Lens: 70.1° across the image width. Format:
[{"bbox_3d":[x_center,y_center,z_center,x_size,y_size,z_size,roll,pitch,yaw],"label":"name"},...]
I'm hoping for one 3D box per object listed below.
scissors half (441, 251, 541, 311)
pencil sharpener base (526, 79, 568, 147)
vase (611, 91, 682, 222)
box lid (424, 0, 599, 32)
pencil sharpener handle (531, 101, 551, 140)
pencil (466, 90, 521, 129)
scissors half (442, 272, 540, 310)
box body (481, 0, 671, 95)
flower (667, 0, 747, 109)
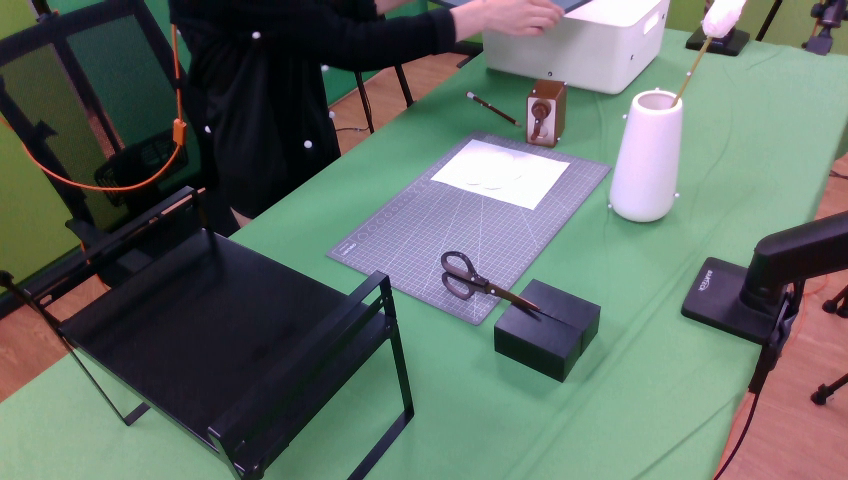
[{"bbox_3d":[0.087,0.056,0.824,0.173,0.040,0.013,29,44,36],"label":"scissors half"},{"bbox_3d":[0.235,-0.242,1.160,0.061,0.107,0.077,12,44,21],"label":"pencil sharpener base"},{"bbox_3d":[0.348,-0.125,0.935,0.098,0.201,0.097,-3,40,3],"label":"vase"},{"bbox_3d":[0.183,-0.511,1.224,0.264,0.015,0.368,-34,45,-21],"label":"box lid"},{"bbox_3d":[0.211,-0.220,1.118,0.036,0.068,0.030,17,46,16],"label":"pencil sharpener handle"},{"bbox_3d":[0.148,-0.281,1.296,0.012,0.012,0.192,-25,47,-20],"label":"pencil"},{"bbox_3d":[0.089,0.074,0.833,0.013,0.040,0.173,-24,23,-38],"label":"scissors half"},{"bbox_3d":[0.339,-0.480,1.381,0.361,0.161,0.255,22,48,30],"label":"box body"},{"bbox_3d":[0.354,-0.187,0.879,0.038,0.362,0.044,31,48,14],"label":"flower"}]
